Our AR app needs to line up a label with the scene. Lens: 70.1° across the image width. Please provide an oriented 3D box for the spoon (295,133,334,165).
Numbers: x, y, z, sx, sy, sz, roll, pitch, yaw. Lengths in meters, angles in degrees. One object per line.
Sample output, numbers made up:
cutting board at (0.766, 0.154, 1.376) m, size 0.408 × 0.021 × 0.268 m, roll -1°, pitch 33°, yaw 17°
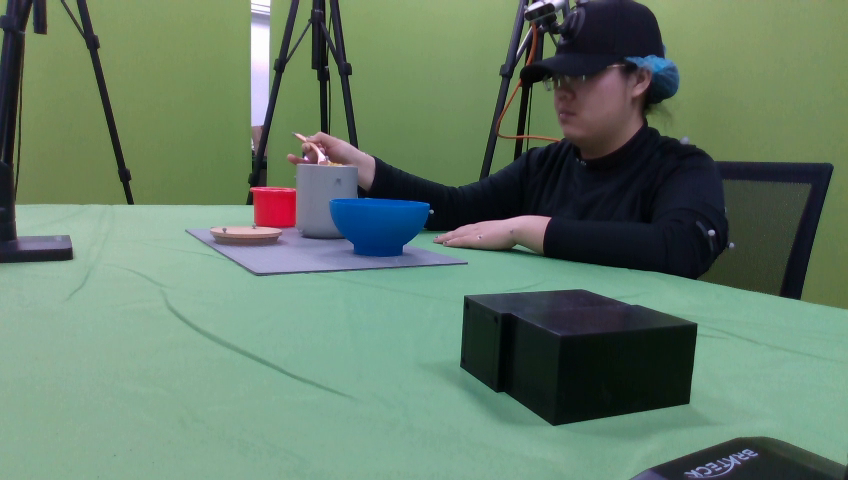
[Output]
spoon at (-0.194, -0.160, 1.089) m, size 0.042 × 0.021 × 0.192 m, roll 1°, pitch 29°, yaw -33°

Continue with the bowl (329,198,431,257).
bowl at (-0.066, -0.019, 0.895) m, size 0.151 × 0.077 × 0.151 m, roll 3°, pitch 7°, yaw 0°

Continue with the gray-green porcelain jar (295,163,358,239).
gray-green porcelain jar at (-0.170, -0.069, 1.054) m, size 0.106 × 0.126 × 0.106 m, roll 3°, pitch 7°, yaw 0°

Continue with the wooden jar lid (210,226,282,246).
wooden jar lid at (-0.279, -0.006, 0.951) m, size 0.108 × 0.020 × 0.108 m, roll 2°, pitch 8°, yaw 0°
